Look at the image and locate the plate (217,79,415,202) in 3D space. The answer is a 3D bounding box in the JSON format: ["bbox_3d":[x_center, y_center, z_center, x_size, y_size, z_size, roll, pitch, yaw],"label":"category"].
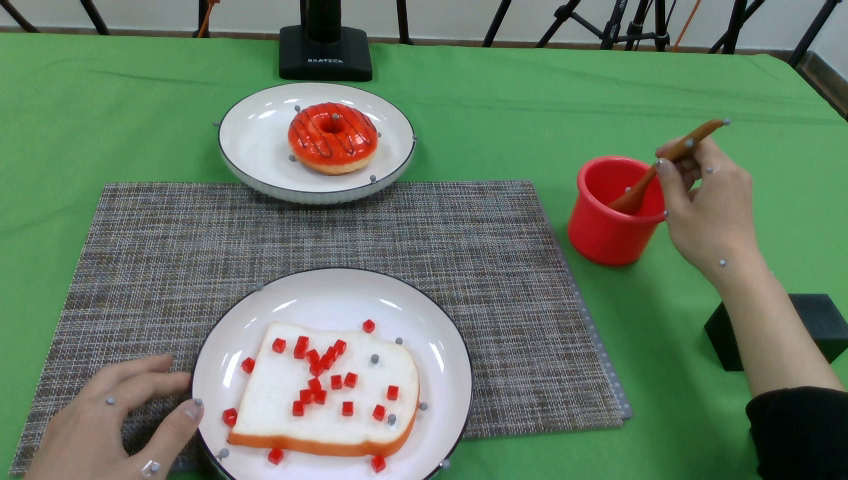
[{"bbox_3d":[-0.115,-0.107,0.663,0.208,0.039,0.205,5,44,-5],"label":"plate"}]

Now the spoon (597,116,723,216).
[{"bbox_3d":[0.215,-0.064,0.569,0.042,0.194,0.021,4,65,-8],"label":"spoon"}]

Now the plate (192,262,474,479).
[{"bbox_3d":[-0.066,0.106,0.466,0.209,0.038,0.207,5,46,-4],"label":"plate"}]

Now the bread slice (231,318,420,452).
[{"bbox_3d":[-0.069,0.109,0.465,0.131,0.019,0.104,7,46,-1],"label":"bread slice"}]

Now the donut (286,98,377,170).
[{"bbox_3d":[-0.099,-0.115,0.657,0.099,0.048,0.098,6,47,-6],"label":"donut"}]
